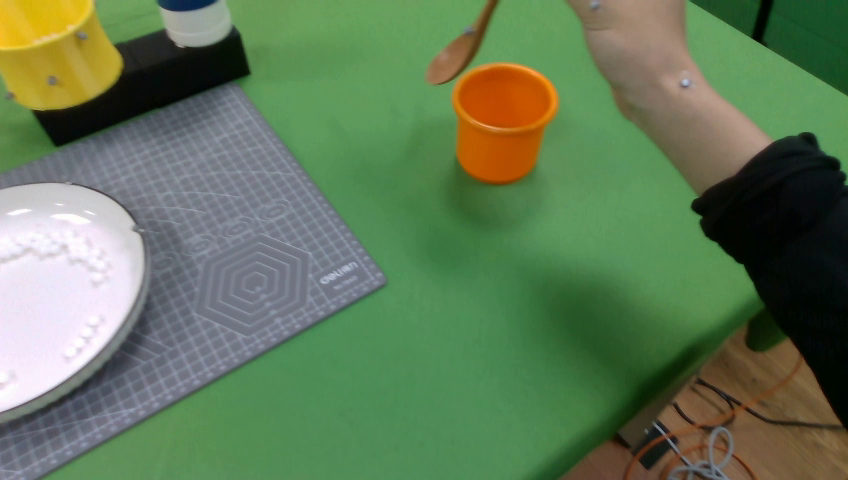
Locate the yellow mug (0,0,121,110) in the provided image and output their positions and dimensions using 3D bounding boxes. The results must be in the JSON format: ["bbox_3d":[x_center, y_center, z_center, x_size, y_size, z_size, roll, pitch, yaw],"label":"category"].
[{"bbox_3d":[-0.349,-0.176,0.540,0.130,0.064,0.099,13,55,11],"label":"yellow mug"}]

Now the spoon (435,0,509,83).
[{"bbox_3d":[0.060,-0.165,0.395,0.022,0.194,0.041,24,57,-16],"label":"spoon"}]

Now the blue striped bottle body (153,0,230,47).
[{"bbox_3d":[-0.225,-0.246,0.556,0.063,0.122,0.062,0,54,0],"label":"blue striped bottle body"}]

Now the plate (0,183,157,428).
[{"bbox_3d":[-0.304,0.046,0.455,0.208,0.039,0.205,1,54,0],"label":"plate"}]
